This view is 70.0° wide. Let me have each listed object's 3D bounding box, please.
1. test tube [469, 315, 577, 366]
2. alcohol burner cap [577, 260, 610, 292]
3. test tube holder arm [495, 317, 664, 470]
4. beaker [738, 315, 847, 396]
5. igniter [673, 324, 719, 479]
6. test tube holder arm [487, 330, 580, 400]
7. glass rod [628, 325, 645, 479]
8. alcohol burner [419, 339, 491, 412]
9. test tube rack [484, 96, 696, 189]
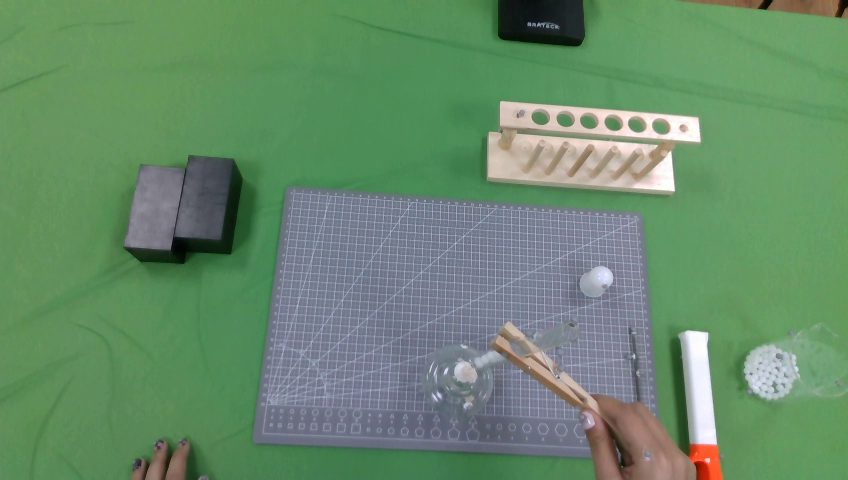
[{"bbox_3d":[0.075,0.085,0.496,0.017,0.150,0.017,8,68,-21],"label":"test tube"},{"bbox_3d":[0.204,0.041,0.720,0.034,0.048,0.033,2,72,-5],"label":"alcohol burner cap"},{"bbox_3d":[0.129,0.127,0.500,0.178,0.015,0.013,41,64,0],"label":"test tube holder arm"},{"bbox_3d":[0.412,0.134,0.684,0.074,0.101,0.083,17,70,0],"label":"beaker"},{"bbox_3d":[0.308,0.232,0.679,0.057,0.025,0.275,7,71,-14],"label":"igniter"},{"bbox_3d":[0.091,0.103,0.496,0.088,0.015,0.010,34,64,-4],"label":"test tube holder arm"},{"bbox_3d":[0.243,0.195,0.691,0.008,0.008,0.198,3,71,-5],"label":"glass rod"},{"bbox_3d":[0.035,0.139,0.633,0.078,0.120,0.077,2,69,-4],"label":"alcohol burner"},{"bbox_3d":[0.202,-0.118,0.753,0.243,0.085,0.066,4,71,-4],"label":"test tube rack"}]
